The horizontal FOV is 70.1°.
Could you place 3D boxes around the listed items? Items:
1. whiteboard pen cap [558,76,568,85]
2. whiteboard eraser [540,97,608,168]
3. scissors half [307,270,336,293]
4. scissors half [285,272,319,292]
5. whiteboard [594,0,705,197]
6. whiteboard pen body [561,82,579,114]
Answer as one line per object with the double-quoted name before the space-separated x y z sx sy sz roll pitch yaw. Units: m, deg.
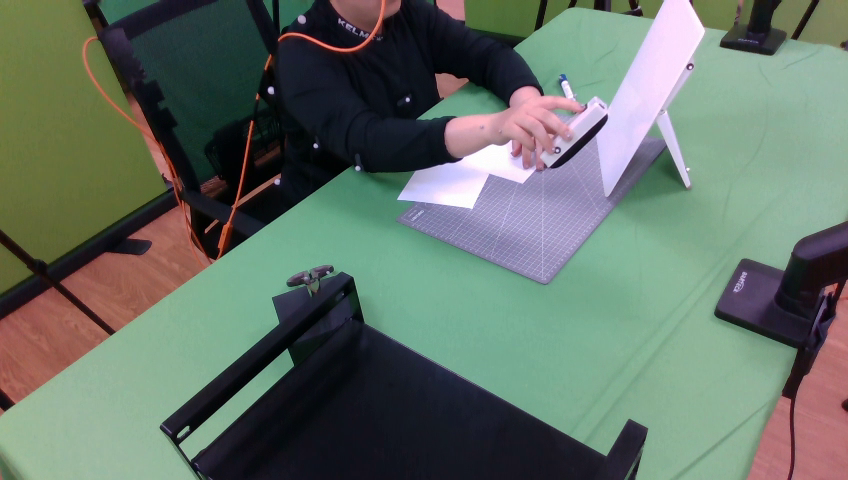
"whiteboard pen cap" 0.310 -0.350 1.340 0.018 0.018 0.033 -6 41 2
"whiteboard eraser" 0.221 -0.153 0.882 0.042 0.112 0.055 43 27 -4
"scissors half" -0.152 0.060 0.873 0.040 0.013 0.175 -5 6 -4
"scissors half" -0.172 0.063 0.868 0.040 0.013 0.174 -12 7 -21
"whiteboard" 0.421 -0.227 1.009 0.144 0.305 0.216 17 41 -3
"whiteboard pen body" 0.311 -0.311 1.297 0.017 0.017 0.140 -6 41 2
